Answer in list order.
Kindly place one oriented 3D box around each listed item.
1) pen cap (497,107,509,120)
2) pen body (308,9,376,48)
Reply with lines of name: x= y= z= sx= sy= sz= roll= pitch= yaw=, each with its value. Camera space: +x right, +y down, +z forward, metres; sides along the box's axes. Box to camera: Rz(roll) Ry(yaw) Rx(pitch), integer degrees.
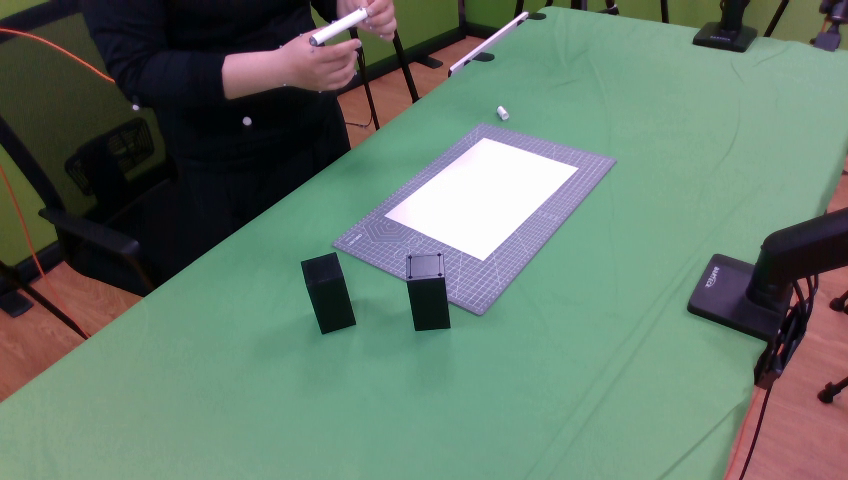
pen cap: x=0.164 y=-0.264 z=1.261 sx=0.017 sy=0.017 sz=0.038 roll=-14 pitch=41 yaw=-7
pen body: x=-0.125 y=-0.336 z=0.952 sx=0.017 sy=0.017 sz=0.144 roll=25 pitch=52 yaw=33
